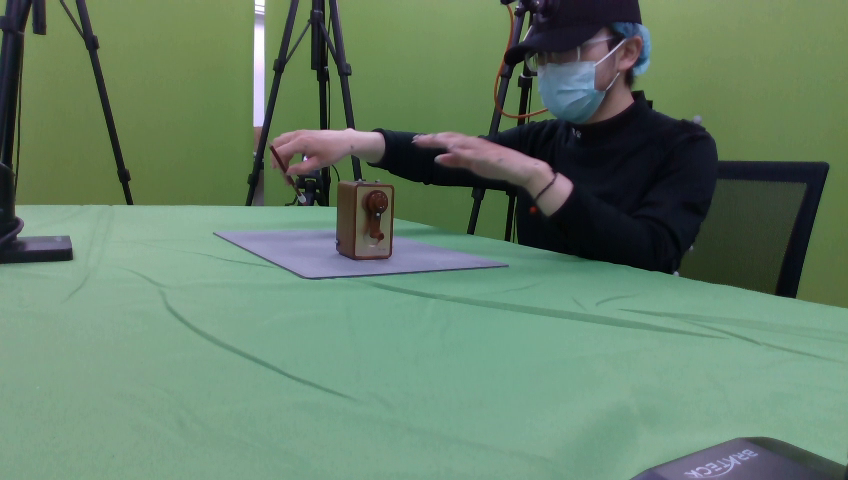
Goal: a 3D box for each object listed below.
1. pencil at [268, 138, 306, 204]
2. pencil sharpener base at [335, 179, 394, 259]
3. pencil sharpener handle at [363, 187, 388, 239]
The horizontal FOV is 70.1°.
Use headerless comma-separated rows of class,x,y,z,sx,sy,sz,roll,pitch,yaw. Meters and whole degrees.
pencil,-0.246,-0.122,1.090,0.012,0.012,0.194,4,-29,11
pencil sharpener base,-0.084,-0.030,0.855,0.061,0.107,0.076,-1,8,-28
pencil sharpener handle,-0.061,-0.035,0.809,0.036,0.067,0.030,4,6,-29
